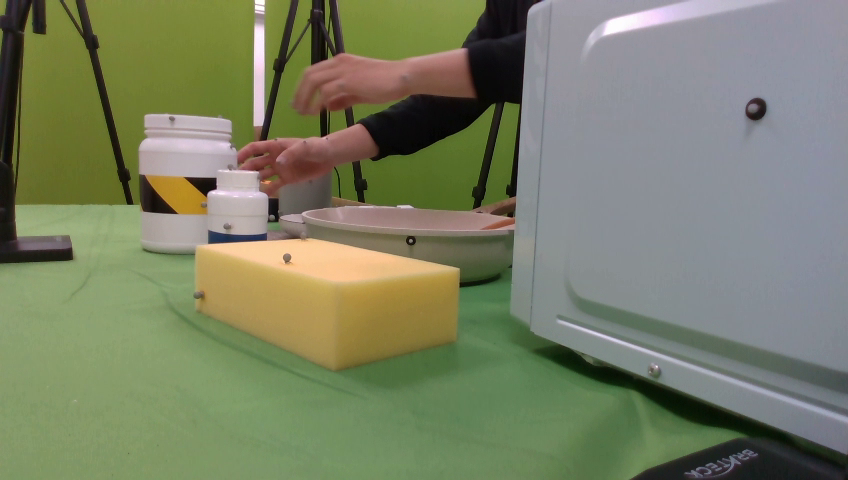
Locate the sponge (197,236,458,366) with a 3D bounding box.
[{"bbox_3d":[-0.087,0.039,0.500,0.206,0.061,0.119,8,9,44],"label":"sponge"}]

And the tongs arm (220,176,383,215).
[{"bbox_3d":[-0.285,-0.104,1.445,0.389,0.027,0.028,9,-4,-23],"label":"tongs arm"}]

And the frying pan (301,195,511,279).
[{"bbox_3d":[0.050,-0.028,0.864,0.305,0.102,0.490,8,18,35],"label":"frying pan"}]

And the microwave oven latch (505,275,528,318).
[{"bbox_3d":[0.100,0.041,0.472,0.079,0.029,0.030,-2,8,-31],"label":"microwave oven latch"}]

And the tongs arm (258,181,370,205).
[{"bbox_3d":[-0.241,-0.095,1.373,0.387,0.026,0.050,9,0,-37],"label":"tongs arm"}]

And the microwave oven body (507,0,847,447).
[{"bbox_3d":[0.331,-0.042,0.425,0.444,0.260,0.324,-2,8,-31],"label":"microwave oven body"}]

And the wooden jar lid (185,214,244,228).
[{"bbox_3d":[-0.404,-0.037,1.169,0.108,0.020,0.108,3,7,0],"label":"wooden jar lid"}]

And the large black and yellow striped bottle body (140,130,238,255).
[{"bbox_3d":[-0.336,-0.078,0.872,0.131,0.184,0.130,2,8,0],"label":"large black and yellow striped bottle body"}]

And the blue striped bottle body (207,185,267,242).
[{"bbox_3d":[-0.204,-0.016,0.663,0.063,0.120,0.063,2,7,0],"label":"blue striped bottle body"}]

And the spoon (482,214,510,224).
[{"bbox_3d":[0.076,-0.013,0.794,0.193,0.021,0.042,-24,-2,11],"label":"spoon"}]

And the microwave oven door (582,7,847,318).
[{"bbox_3d":[0.295,-0.067,0.569,0.358,0.243,0.039,-3,8,-31],"label":"microwave oven door"}]

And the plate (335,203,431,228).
[{"bbox_3d":[-0.089,-0.053,1.309,0.208,0.039,0.207,2,8,0],"label":"plate"}]

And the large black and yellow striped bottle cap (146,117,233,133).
[{"bbox_3d":[-0.333,-0.163,0.861,0.115,0.019,0.115,1,8,0],"label":"large black and yellow striped bottle cap"}]

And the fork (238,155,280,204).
[{"bbox_3d":[-0.396,-0.143,1.486,0.028,0.018,0.208,20,-26,45],"label":"fork"}]

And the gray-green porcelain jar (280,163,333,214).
[{"bbox_3d":[-0.238,-0.092,1.221,0.106,0.126,0.106,2,7,0],"label":"gray-green porcelain jar"}]

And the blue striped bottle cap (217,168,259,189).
[{"bbox_3d":[-0.202,-0.067,0.657,0.044,0.020,0.044,0,11,0],"label":"blue striped bottle cap"}]

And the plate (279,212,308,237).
[{"bbox_3d":[-0.139,-0.022,1.020,0.209,0.038,0.209,2,8,0],"label":"plate"}]
